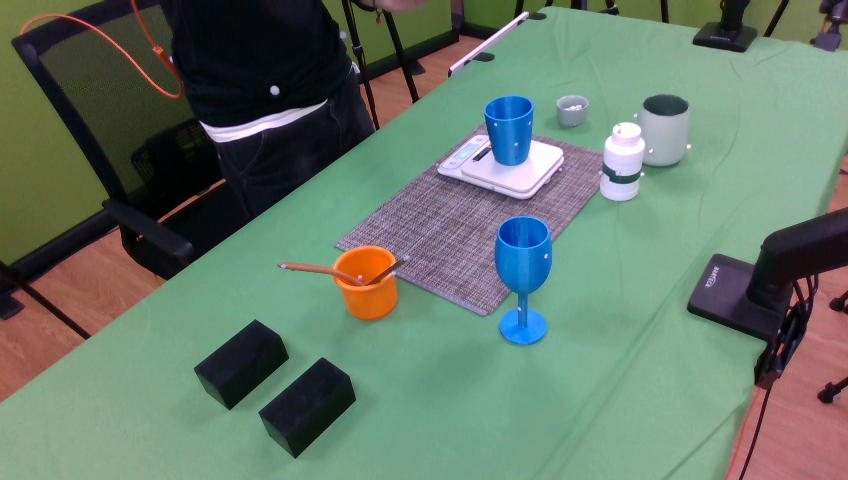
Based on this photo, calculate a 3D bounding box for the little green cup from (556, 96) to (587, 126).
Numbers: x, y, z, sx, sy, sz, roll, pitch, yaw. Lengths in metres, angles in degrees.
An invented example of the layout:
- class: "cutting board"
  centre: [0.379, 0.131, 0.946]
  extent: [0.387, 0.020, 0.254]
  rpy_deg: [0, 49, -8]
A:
- class: "little green cup"
  centre: [0.295, -0.258, 1.214]
  extent: [0.061, 0.039, 0.061]
  rpy_deg: [-4, 42, 4]

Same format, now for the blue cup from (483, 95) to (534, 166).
- class: "blue cup"
  centre: [0.150, -0.187, 1.051]
  extent: [0.092, 0.101, 0.092]
  rpy_deg: [-6, 41, 6]

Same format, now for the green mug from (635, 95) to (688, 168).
- class: "green mug"
  centre: [0.421, -0.201, 1.081]
  extent: [0.092, 0.105, 0.125]
  rpy_deg: [5, 42, 15]

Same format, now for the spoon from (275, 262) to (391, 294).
- class: "spoon"
  centre: [-0.120, 0.050, 0.830]
  extent: [0.041, 0.195, 0.021]
  rpy_deg: [32, 97, 45]

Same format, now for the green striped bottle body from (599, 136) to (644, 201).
- class: "green striped bottle body"
  centre: [0.326, -0.128, 0.997]
  extent: [0.063, 0.120, 0.063]
  rpy_deg: [-4, 41, 4]

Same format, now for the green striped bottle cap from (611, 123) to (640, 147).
- class: "green striped bottle cap"
  centre: [0.322, -0.168, 0.963]
  extent: [0.044, 0.020, 0.044]
  rpy_deg: [-3, 42, 3]

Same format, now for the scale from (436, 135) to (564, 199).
- class: "scale"
  centre: [0.137, -0.142, 1.101]
  extent: [0.199, 0.032, 0.149]
  rpy_deg: [22, 48, 30]

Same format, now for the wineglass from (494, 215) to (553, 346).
- class: "wineglass"
  centre: [0.126, 0.055, 0.770]
  extent: [0.074, 0.173, 0.073]
  rpy_deg: [-4, 40, 4]

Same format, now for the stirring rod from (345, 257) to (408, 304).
- class: "stirring rod"
  centre: [-0.067, 0.057, 0.815]
  extent: [0.014, 0.175, 0.006]
  rpy_deg: [-24, 82, -38]
